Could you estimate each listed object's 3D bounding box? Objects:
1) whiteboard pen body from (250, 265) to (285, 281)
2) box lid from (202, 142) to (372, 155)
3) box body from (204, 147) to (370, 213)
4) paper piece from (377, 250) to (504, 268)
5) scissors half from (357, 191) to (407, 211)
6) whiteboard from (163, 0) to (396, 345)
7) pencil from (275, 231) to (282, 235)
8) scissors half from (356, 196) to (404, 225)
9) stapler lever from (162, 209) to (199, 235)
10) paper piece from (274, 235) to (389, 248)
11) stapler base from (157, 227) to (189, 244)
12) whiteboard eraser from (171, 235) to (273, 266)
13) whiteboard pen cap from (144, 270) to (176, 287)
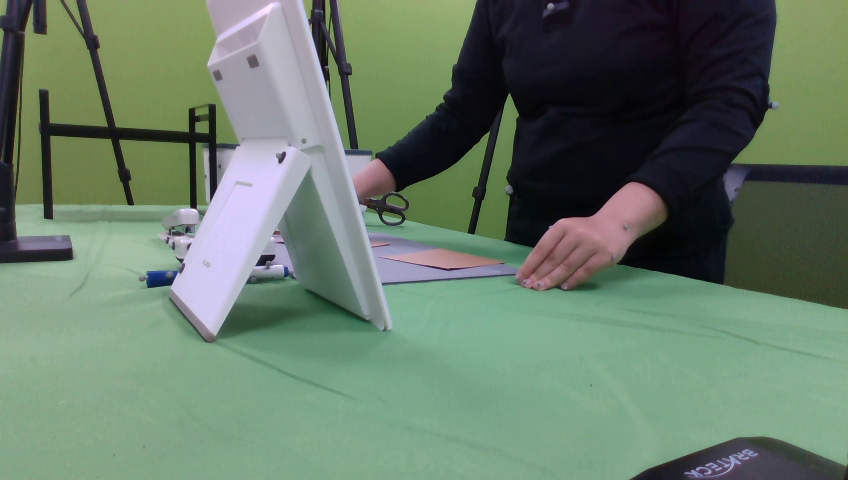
[{"bbox_3d":[-0.220,0.039,0.656,0.141,0.017,0.017,-2,9,-31],"label":"whiteboard pen body"},{"bbox_3d":[-0.344,-0.225,1.509,0.373,0.015,0.262,-2,8,-31],"label":"box lid"},{"bbox_3d":[-0.346,-0.152,1.519,0.366,0.160,0.253,-1,9,-31],"label":"box body"},{"bbox_3d":[0.026,0.026,0.865,0.134,0.004,0.136,9,8,43],"label":"paper piece"},{"bbox_3d":[-0.123,-0.092,1.316,0.175,0.040,0.013,6,15,-4],"label":"scissors half"},{"bbox_3d":[-0.173,-0.053,0.511,0.144,0.305,0.216,-23,19,-26],"label":"whiteboard"},{"bbox_3d":[-0.233,-0.012,1.055,0.195,0.012,0.012,0,8,-38],"label":"pencil"},{"bbox_3d":[-0.127,-0.073,1.320,0.175,0.040,0.013,22,8,-7],"label":"scissors half"},{"bbox_3d":[-0.376,-0.031,0.933,0.027,0.040,0.117,0,7,-38],"label":"stapler lever"},{"bbox_3d":[-0.151,0.003,0.978,0.135,0.008,0.139,14,10,35],"label":"paper piece"},{"bbox_3d":[-0.376,-0.007,0.934,0.041,0.024,0.130,0,5,-38],"label":"stapler base"},{"bbox_3d":[-0.248,0.014,0.747,0.113,0.042,0.055,-1,9,-32],"label":"whiteboard eraser"},{"bbox_3d":[-0.271,0.039,0.627,0.033,0.018,0.018,-4,10,-33],"label":"whiteboard pen cap"}]
